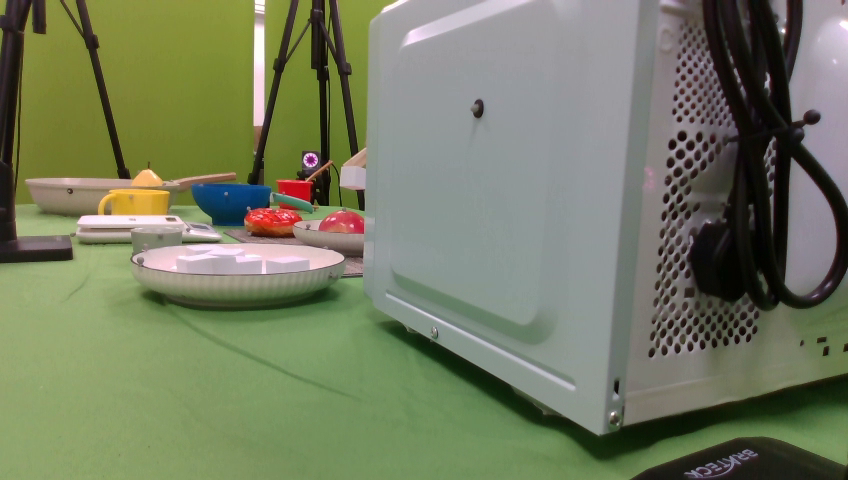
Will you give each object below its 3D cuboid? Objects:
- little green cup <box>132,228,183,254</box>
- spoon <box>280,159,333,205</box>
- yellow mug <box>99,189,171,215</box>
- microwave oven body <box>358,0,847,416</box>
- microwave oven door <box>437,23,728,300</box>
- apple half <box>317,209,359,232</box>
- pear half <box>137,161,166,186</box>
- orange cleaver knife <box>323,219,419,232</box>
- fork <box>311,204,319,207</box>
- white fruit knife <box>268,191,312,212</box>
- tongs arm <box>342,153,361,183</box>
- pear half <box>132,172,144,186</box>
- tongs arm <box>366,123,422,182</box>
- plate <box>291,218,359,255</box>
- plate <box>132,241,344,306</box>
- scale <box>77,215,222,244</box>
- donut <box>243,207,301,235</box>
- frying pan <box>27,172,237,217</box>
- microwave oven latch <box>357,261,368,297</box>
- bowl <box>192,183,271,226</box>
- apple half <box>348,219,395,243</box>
[{"bbox_3d":[-0.342,0.006,0.779,0.061,0.038,0.061,2,8,0],"label":"little green cup"},{"bbox_3d":[-0.316,-0.159,1.640,0.194,0.022,0.041,-49,31,-20],"label":"spoon"},{"bbox_3d":[-0.519,-0.055,1.080,0.099,0.064,0.131,7,9,26],"label":"yellow mug"},{"bbox_3d":[0.211,-0.047,0.475,0.444,0.260,0.324,-1,7,-28],"label":"microwave oven body"},{"bbox_3d":[0.180,-0.072,0.621,0.358,0.243,0.039,-2,8,-29],"label":"microwave oven door"},{"bbox_3d":[-0.122,-0.020,0.900,0.080,0.053,0.075,4,11,15],"label":"apple half"},{"bbox_3d":[-0.602,-0.120,1.354,0.056,0.110,0.076,4,11,6],"label":"pear half"},{"bbox_3d":[-0.097,-0.027,1.152,0.077,0.012,0.212,1,6,41],"label":"orange cleaver knife"},{"bbox_3d":[-0.356,-0.105,1.526,0.208,0.018,0.028,16,-5,-41],"label":"fork"},{"bbox_3d":[-0.364,-0.105,1.464,0.208,0.027,0.016,15,0,-34],"label":"white fruit knife"},{"bbox_3d":[-0.082,-0.166,1.110,0.028,0.028,0.388,-6,19,15],"label":"tongs arm"},{"bbox_3d":[-0.638,-0.113,1.361,0.031,0.088,0.070,5,11,4],"label":"pear half"},{"bbox_3d":[-0.057,-0.167,1.105,0.050,0.026,0.385,-2,20,17],"label":"tongs arm"},{"bbox_3d":[-0.098,-0.007,0.928,0.209,0.038,0.209,2,7,0],"label":"plate"},{"bbox_3d":[-0.187,0.033,0.625,0.208,0.039,0.207,2,8,0],"label":"plate"},{"bbox_3d":[-0.434,-0.019,0.963,0.202,0.031,0.148,-1,9,-27],"label":"scale"},{"bbox_3d":[-0.261,-0.032,1.043,0.099,0.048,0.099,4,9,0],"label":"donut"},{"bbox_3d":[-0.624,-0.118,1.387,0.305,0.102,0.490,8,17,32],"label":"frying pan"},{"bbox_3d":[-0.019,0.033,0.531,0.079,0.029,0.030,-1,7,-27],"label":"microwave oven latch"},{"bbox_3d":[-0.382,-0.071,1.202,0.151,0.077,0.151,3,7,0],"label":"bowl"},{"bbox_3d":[-0.083,-0.018,0.967,0.081,0.033,0.081,6,10,-1],"label":"apple half"}]
